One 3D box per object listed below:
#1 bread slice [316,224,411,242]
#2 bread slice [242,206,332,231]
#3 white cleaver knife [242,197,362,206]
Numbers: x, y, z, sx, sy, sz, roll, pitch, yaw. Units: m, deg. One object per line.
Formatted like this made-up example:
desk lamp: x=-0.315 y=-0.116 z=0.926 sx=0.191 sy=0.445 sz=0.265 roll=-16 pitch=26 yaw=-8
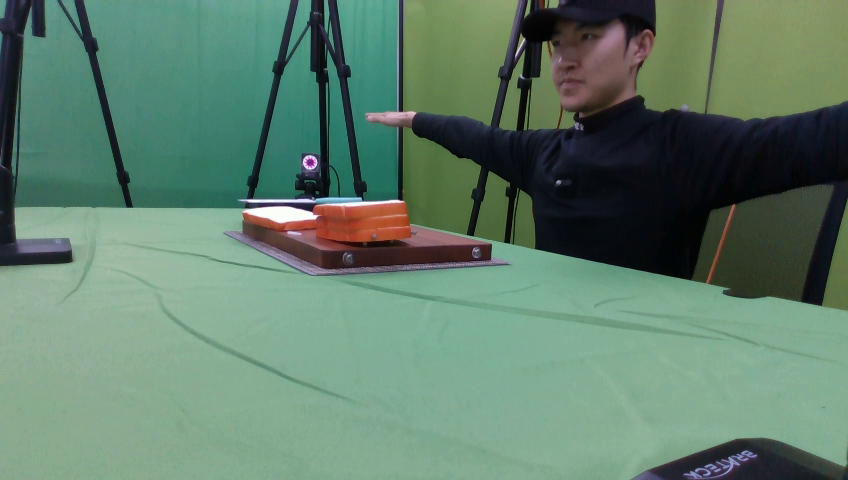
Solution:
bread slice: x=-0.082 y=-0.010 z=0.848 sx=0.107 sy=0.018 sz=0.133 roll=-5 pitch=5 yaw=-28
bread slice: x=-0.233 y=-0.036 z=1.001 sx=0.131 sy=0.019 sz=0.105 roll=13 pitch=16 yaw=40
white cleaver knife: x=-0.256 y=-0.086 z=1.295 sx=0.288 sy=0.021 sz=0.065 roll=-2 pitch=9 yaw=-41
